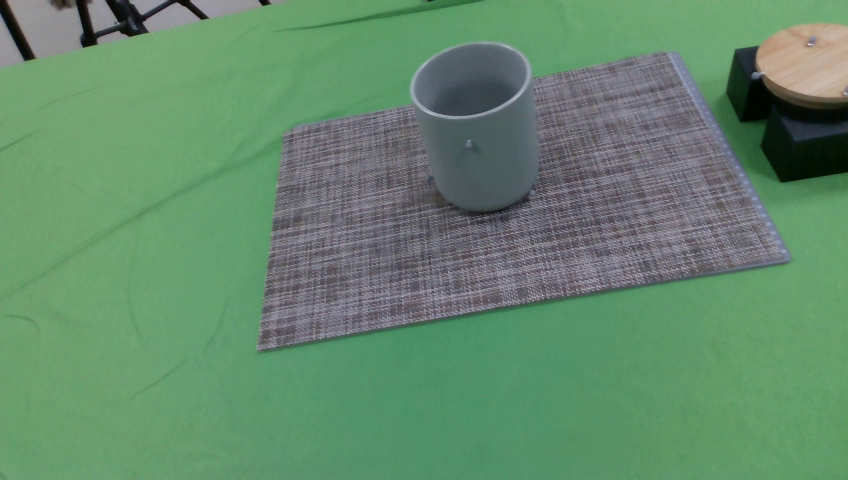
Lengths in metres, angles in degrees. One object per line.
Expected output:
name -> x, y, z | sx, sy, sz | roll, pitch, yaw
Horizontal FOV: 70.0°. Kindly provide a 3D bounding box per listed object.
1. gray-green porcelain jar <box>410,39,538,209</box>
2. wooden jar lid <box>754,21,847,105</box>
gray-green porcelain jar -> 0.051, -0.100, 0.559 | 0.106, 0.128, 0.105 | -7, 50, 9
wooden jar lid -> 0.352, -0.156, 0.537 | 0.108, 0.021, 0.107 | -7, 52, 9
